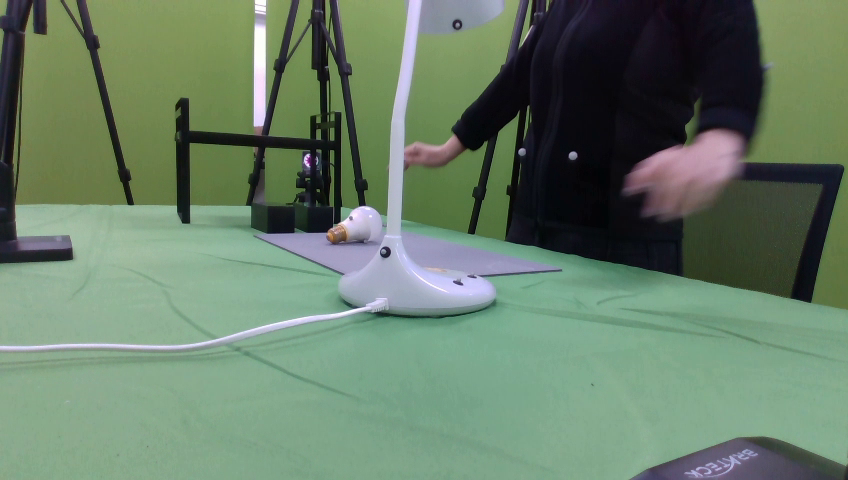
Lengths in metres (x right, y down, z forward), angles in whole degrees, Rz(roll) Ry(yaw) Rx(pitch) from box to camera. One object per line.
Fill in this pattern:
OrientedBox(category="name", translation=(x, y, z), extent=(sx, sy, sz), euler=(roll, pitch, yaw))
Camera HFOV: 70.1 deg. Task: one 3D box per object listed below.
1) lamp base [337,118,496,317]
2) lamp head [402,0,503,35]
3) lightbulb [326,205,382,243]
OrientedBox(category="lamp base", translation=(-0.008, -0.026, 0.589), extent=(0.160, 0.180, 0.179), euler=(4, 10, 15))
OrientedBox(category="lamp head", translation=(0.021, -0.293, 0.642), extent=(0.112, 0.123, 0.112), euler=(-9, 44, 9))
OrientedBox(category="lightbulb", translation=(-0.117, -0.021, 0.999), extent=(0.059, 0.059, 0.108), euler=(10, 25, 43))
